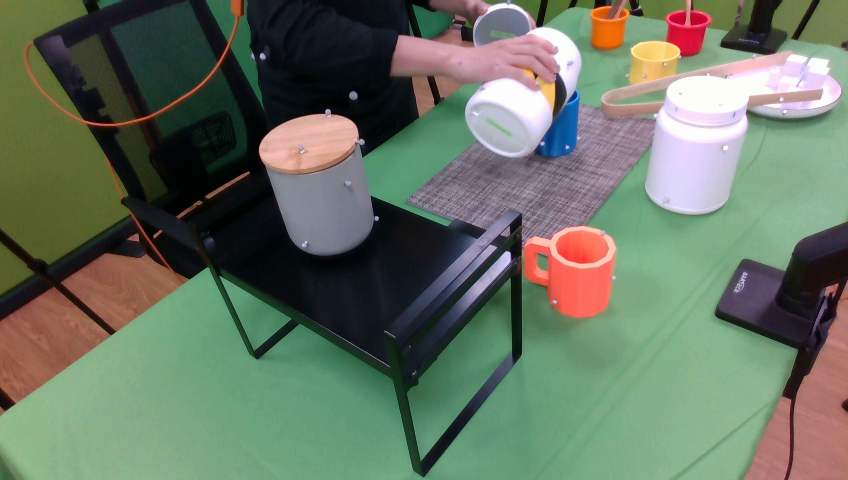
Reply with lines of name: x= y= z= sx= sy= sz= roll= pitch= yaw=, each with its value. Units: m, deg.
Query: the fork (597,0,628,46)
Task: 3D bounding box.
fork: x=0.479 y=-0.558 z=1.455 sx=0.028 sy=0.019 sz=0.207 roll=35 pitch=100 yaw=38

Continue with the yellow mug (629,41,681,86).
yellow mug: x=0.495 y=-0.389 z=1.321 sx=0.100 sy=0.064 sz=0.130 roll=-14 pitch=40 yaw=-6

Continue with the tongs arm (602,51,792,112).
tongs arm: x=0.552 y=-0.320 z=1.224 sx=0.384 sy=0.027 sz=0.050 roll=-10 pitch=43 yaw=7

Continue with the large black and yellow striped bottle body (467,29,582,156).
large black and yellow striped bottle body: x=0.166 y=-0.241 z=0.975 sx=0.130 sy=0.131 sz=0.184 roll=21 pitch=62 yaw=29

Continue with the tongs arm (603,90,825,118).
tongs arm: x=0.546 y=-0.262 z=1.163 sx=0.386 sy=0.028 sz=0.028 roll=-1 pitch=49 yaw=18

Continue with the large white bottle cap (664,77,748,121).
large white bottle cap: x=0.421 y=-0.212 z=0.905 sx=0.115 sy=0.018 sz=0.114 roll=-4 pitch=40 yaw=4

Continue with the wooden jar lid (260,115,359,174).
wooden jar lid: x=-0.124 y=-0.101 z=0.662 sx=0.108 sy=0.021 sz=0.108 roll=-4 pitch=41 yaw=4

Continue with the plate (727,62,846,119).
plate: x=0.709 y=-0.292 z=1.197 sx=0.207 sy=0.039 sz=0.206 roll=-4 pitch=40 yaw=4

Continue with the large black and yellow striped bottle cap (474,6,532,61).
large black and yellow striped bottle cap: x=0.156 y=-0.408 z=1.199 sx=0.115 sy=0.115 sz=0.018 roll=-6 pitch=51 yaw=2

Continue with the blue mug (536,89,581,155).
blue mug: x=0.233 y=-0.219 z=1.127 sx=0.117 sy=0.106 sz=0.081 roll=-22 pitch=43 yaw=-16

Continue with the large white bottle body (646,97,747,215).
large white bottle body: x=0.431 y=-0.148 z=0.959 sx=0.130 sy=0.185 sz=0.130 roll=-4 pitch=41 yaw=4

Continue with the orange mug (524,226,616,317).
orange mug: x=0.201 y=0.039 z=0.845 sx=0.125 sy=0.101 sz=0.083 roll=18 pitch=47 yaw=21

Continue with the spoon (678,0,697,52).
spoon: x=0.614 y=-0.526 z=1.402 sx=0.041 sy=0.022 sz=0.193 roll=3 pitch=86 yaw=11

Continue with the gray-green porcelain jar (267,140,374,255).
gray-green porcelain jar: x=-0.117 y=-0.054 z=0.703 sx=0.106 sy=0.127 sz=0.105 roll=-4 pitch=40 yaw=4

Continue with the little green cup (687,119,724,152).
little green cup: x=0.514 y=-0.191 z=1.109 sx=0.061 sy=0.039 sz=0.061 roll=-5 pitch=40 yaw=5

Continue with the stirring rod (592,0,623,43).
stirring rod: x=0.460 y=-0.557 z=1.461 sx=0.014 sy=0.176 sz=0.006 roll=35 pitch=11 yaw=22
